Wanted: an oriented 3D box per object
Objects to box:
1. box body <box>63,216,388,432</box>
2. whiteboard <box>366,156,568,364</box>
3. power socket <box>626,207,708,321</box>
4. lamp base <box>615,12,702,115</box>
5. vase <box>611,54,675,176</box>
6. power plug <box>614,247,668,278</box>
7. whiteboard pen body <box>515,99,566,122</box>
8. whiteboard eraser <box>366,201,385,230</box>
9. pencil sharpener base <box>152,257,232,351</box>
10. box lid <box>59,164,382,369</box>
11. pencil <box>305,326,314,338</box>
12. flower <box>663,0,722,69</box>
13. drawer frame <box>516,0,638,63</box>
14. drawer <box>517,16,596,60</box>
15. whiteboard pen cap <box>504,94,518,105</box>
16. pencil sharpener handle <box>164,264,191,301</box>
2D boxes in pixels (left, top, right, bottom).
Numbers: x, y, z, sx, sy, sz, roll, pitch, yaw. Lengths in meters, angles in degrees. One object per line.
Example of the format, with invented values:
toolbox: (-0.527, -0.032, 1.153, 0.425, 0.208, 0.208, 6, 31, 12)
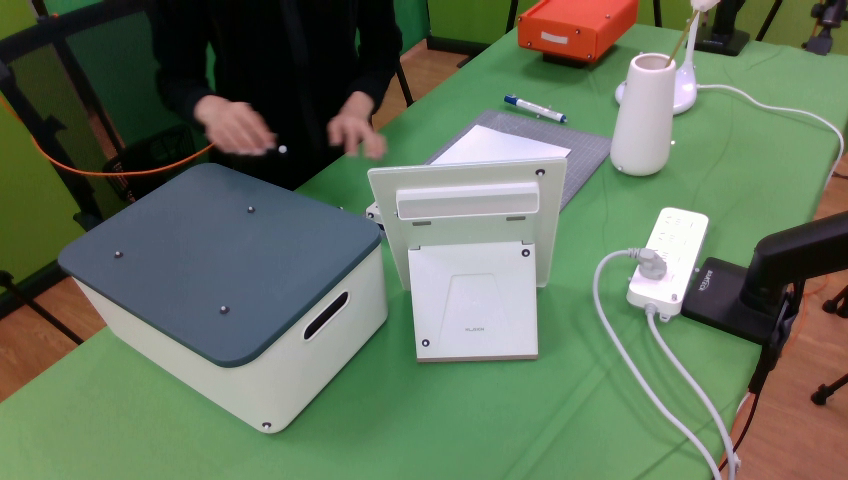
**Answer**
box body: (-0.256, 0.065, 0.827, 0.361, 0.161, 0.255, 20, 48, 29)
whiteboard: (0.059, 0.050, 0.738, 0.217, 0.307, 0.143, -2, 60, 6)
power socket: (0.359, 0.025, 0.886, 0.072, 0.033, 0.227, 16, 46, 26)
lamp base: (0.484, -0.364, 1.211, 0.180, 0.181, 0.159, -15, 41, -14)
vase: (0.377, -0.209, 1.031, 0.098, 0.201, 0.097, -3, 40, 3)
power plug: (0.306, 0.031, 0.851, 0.072, 0.053, 0.035, 24, 49, 33)
whiteboard pen body: (0.234, -0.274, 1.262, 0.139, 0.017, 0.017, 28, 51, 29)
whiteboard eraser: (-0.037, -0.038, 1.006, 0.112, 0.042, 0.055, 16, 48, 25)
pencil sharpener base: (-0.323, 0.088, 0.842, 0.061, 0.107, 0.076, -27, 44, -20)
box lid: (-0.263, 0.010, 0.777, 0.368, 0.015, 0.264, 20, 47, 29)
pencil: (-0.187, 0.105, 0.879, 0.012, 0.012, 0.192, -27, 42, -22)
flower: (0.379, -0.261, 0.965, 0.044, 0.362, 0.038, 20, 53, 5)
drawer frame: (0.355, -0.508, 1.410, 0.200, 0.083, 0.214, 23, 51, 32)
drawer: (0.353, -0.506, 1.405, 0.193, 0.073, 0.212, 23, 49, 32)
whiteboard pen cap: (0.189, -0.299, 1.292, 0.033, 0.018, 0.018, 30, 52, 28)
pencil sharpener handle: (-0.354, 0.055, 0.866, 0.036, 0.068, 0.030, -16, 39, -29)
